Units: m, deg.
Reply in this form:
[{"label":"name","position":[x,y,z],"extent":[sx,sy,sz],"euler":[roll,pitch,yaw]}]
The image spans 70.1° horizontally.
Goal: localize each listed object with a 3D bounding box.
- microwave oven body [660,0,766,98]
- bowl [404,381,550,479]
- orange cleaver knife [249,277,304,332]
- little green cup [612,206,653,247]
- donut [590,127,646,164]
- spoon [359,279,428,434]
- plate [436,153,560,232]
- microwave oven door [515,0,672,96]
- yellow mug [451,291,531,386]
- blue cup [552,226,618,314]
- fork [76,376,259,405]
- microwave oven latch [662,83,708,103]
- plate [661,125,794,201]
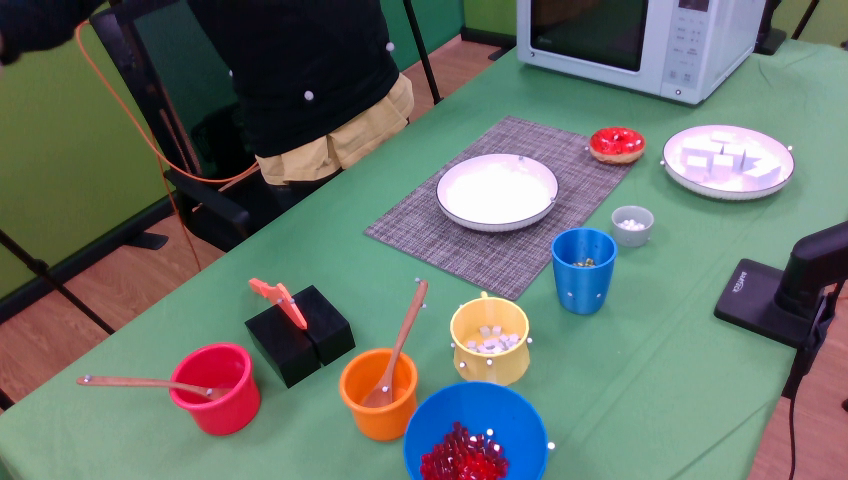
[{"label":"microwave oven body","position":[0.472,-0.513,1.317],"extent":[0.438,0.261,0.327],"euler":[26,51,34]},{"label":"bowl","position":[0.058,0.235,0.645],"extent":[0.151,0.077,0.150],"euler":[-4,39,4]},{"label":"orange cleaver knife","position":[-0.210,0.089,0.855],"extent":[0.012,0.077,0.210],"euler":[-27,14,-25]},{"label":"little green cup","position":[0.321,-0.019,0.936],"extent":[0.061,0.039,0.061],"euler":[-4,41,4]},{"label":"donut","position":[0.353,-0.174,1.103],"extent":[0.099,0.048,0.098],"euler":[-4,38,4]},{"label":"spoon","position":[-0.032,0.138,0.719],"extent":[0.041,0.193,0.022],"euler":[22,4,30]},{"label":"plate","position":[0.125,-0.078,1.029],"extent":[0.209,0.038,0.208],"euler":[-4,40,4]},{"label":"microwave oven door","position":[0.343,-0.455,1.259],"extent":[0.353,0.245,0.039],"euler":[26,51,33]},{"label":"yellow mug","position":[0.085,0.120,0.786],"extent":[0.100,0.064,0.130],"euler":[-7,39,1]},{"label":"blue cup","position":[0.217,0.047,0.825],"extent":[0.092,0.100,0.092],"euler":[-6,40,5]},{"label":"fork","position":[-0.295,0.176,0.716],"extent":[0.209,0.018,0.028],"euler":[20,28,-37]},{"label":"microwave oven latch","position":[0.517,-0.296,1.204],"extent":[0.078,0.029,0.030],"euler":[28,52,35]},{"label":"plate","position":[0.513,-0.128,1.035],"extent":[0.207,0.039,0.206],"euler":[-4,40,4]}]
